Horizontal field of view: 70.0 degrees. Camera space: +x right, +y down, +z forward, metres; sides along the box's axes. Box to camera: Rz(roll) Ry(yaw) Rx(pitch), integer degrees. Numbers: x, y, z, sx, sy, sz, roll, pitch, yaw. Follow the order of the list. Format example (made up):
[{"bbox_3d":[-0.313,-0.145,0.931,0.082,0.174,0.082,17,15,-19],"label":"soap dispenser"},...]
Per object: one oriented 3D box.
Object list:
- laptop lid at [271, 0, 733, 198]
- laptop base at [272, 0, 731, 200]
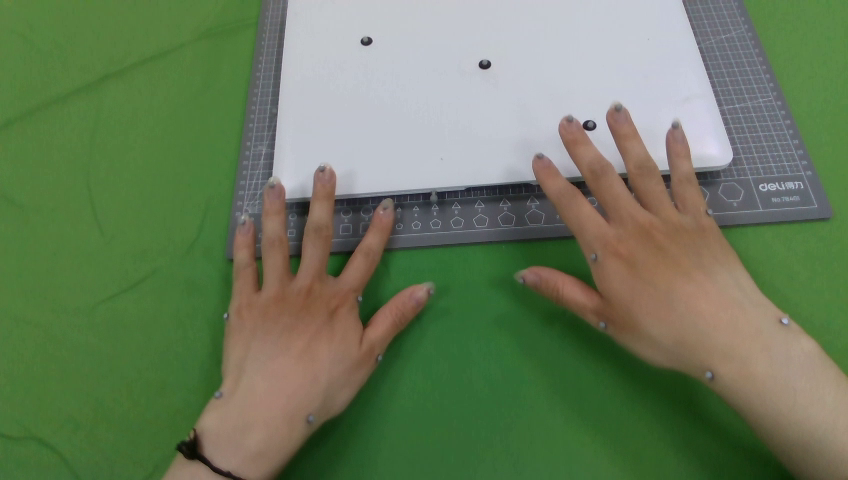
[{"bbox_3d":[0.053,-0.147,0.507,0.356,0.013,0.239,-2,63,3],"label":"laptop lid"},{"bbox_3d":[0.054,-0.143,0.518,0.354,0.023,0.233,-4,65,2],"label":"laptop base"}]
